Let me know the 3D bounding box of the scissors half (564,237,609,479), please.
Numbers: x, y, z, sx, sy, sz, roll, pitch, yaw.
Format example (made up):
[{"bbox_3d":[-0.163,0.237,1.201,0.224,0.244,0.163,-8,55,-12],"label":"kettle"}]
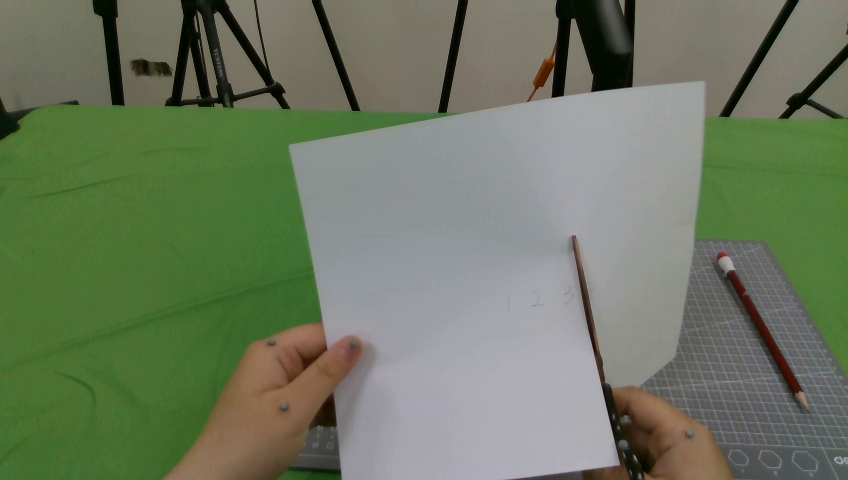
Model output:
[{"bbox_3d":[0.101,0.084,0.364,0.013,0.175,0.040,-12,5,-3],"label":"scissors half"}]

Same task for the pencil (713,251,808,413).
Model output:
[{"bbox_3d":[0.298,0.074,0.543,0.012,0.012,0.192,0,39,1],"label":"pencil"}]

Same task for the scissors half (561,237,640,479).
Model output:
[{"bbox_3d":[0.100,0.081,0.344,0.013,0.040,0.174,-12,76,2],"label":"scissors half"}]
